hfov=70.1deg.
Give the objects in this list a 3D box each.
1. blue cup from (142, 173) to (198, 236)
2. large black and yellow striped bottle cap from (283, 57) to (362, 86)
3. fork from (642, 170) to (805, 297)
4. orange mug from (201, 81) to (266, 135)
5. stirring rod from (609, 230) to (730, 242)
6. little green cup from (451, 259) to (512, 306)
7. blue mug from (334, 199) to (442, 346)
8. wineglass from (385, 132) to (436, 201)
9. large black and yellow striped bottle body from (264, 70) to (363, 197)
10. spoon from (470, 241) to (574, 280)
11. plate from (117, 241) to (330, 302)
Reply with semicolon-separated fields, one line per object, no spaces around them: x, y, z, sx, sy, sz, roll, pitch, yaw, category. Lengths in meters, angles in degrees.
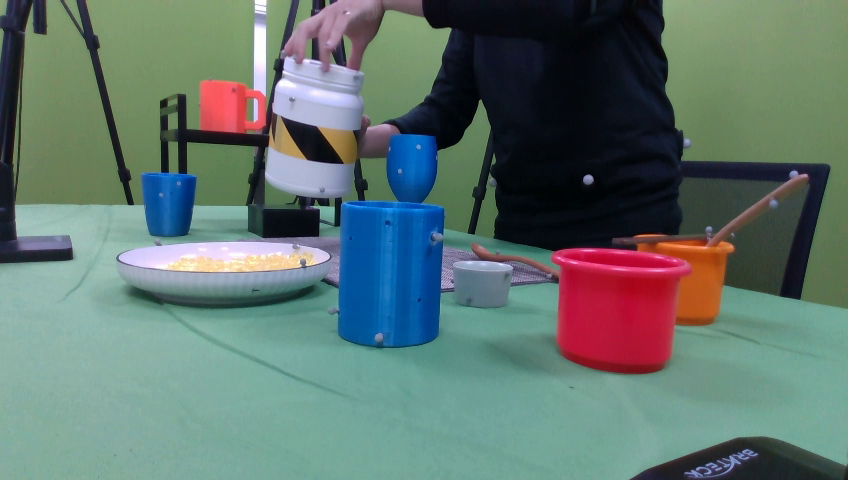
-0.425;-0.060;1.014;0.093;0.100;0.092;4;9;0;blue cup
-0.147;-0.246;0.885;0.115;0.019;0.115;12;18;-4;large black and yellow striped bottle cap
0.261;0.004;0.545;0.028;0.018;0.207;6;-38;-15;fork
-0.376;-0.260;1.198;0.126;0.101;0.083;-3;8;-6;orange mug
0.241;-0.004;0.582;0.177;0.006;0.014;-3;9;-33;stirring rod
0.057;0.043;0.611;0.061;0.038;0.061;3;7;0;little green cup
-0.034;0.020;0.498;0.083;0.106;0.116;0;7;-19;blue mug
-0.020;-0.061;0.838;0.074;0.172;0.073;2;7;0;wineglass
-0.164;-0.168;0.910;0.131;0.184;0.130;11;18;-3;large black and yellow striped bottle body
0.124;0.025;0.801;0.042;0.021;0.192;23;-5;-34;spoon
-0.203;0.031;0.630;0.209;0.038;0.209;3;7;0;plate
